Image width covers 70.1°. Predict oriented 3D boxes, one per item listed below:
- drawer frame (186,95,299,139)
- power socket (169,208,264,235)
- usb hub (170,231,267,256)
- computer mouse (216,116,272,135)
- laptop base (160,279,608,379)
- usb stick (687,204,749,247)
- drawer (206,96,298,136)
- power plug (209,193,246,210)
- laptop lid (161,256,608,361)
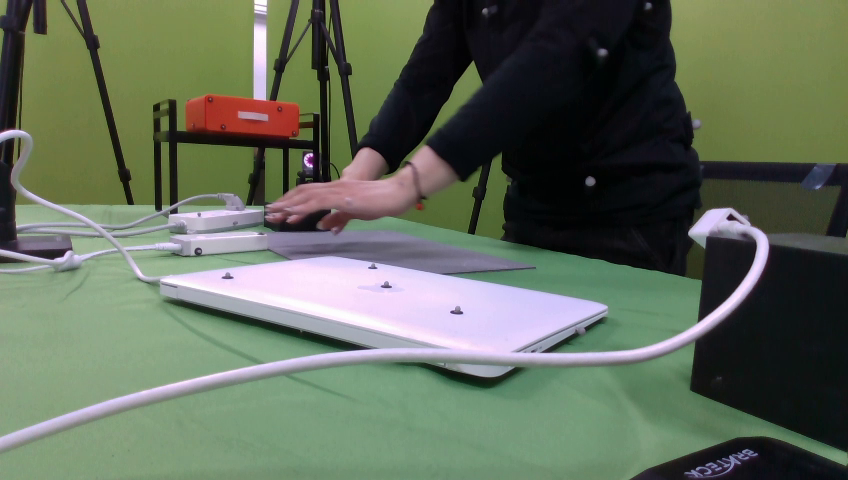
[{"bbox_3d":[-0.417,-0.277,1.378,0.203,0.082,0.212,-3,8,-32],"label":"drawer frame"},{"bbox_3d":[-0.381,-0.038,1.129,0.072,0.032,0.227,4,8,16],"label":"power socket"},{"bbox_3d":[-0.290,0.004,0.862,0.049,0.025,0.126,10,11,42],"label":"usb hub"},{"bbox_3d":[-0.402,-0.257,1.353,0.118,0.041,0.062,-6,15,-35],"label":"computer mouse"},{"bbox_3d":[-0.038,0.059,0.556,0.352,0.023,0.237,7,7,33],"label":"laptop base"},{"bbox_3d":[0.214,-0.010,0.448,0.021,0.027,0.059,39,2,6],"label":"usb stick"},{"bbox_3d":[-0.414,-0.275,1.376,0.195,0.073,0.210,-3,8,-31],"label":"drawer"},{"bbox_3d":[-0.389,-0.067,1.205,0.072,0.052,0.035,3,8,26],"label":"power plug"},{"bbox_3d":[-0.037,0.046,0.556,0.355,0.013,0.243,8,8,35],"label":"laptop lid"}]
